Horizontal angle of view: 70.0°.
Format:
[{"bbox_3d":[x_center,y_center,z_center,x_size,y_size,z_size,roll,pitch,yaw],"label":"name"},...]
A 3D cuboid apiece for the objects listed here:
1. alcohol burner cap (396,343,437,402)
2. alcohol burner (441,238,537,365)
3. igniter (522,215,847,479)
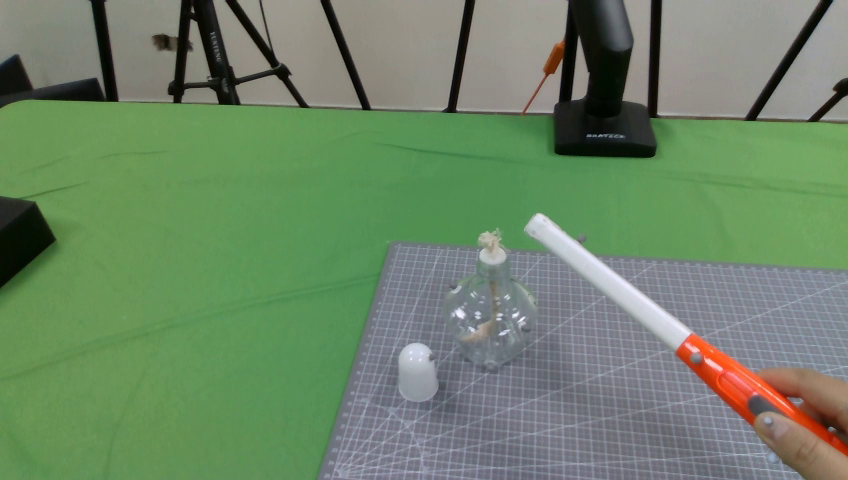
[{"bbox_3d":[-0.007,0.100,0.472,0.034,0.048,0.033,-1,41,1],"label":"alcohol burner cap"},{"bbox_3d":[0.052,0.044,0.480,0.078,0.120,0.077,0,41,1],"label":"alcohol burner"},{"bbox_3d":[0.164,0.071,0.359,0.273,0.025,0.058,43,13,32],"label":"igniter"}]
